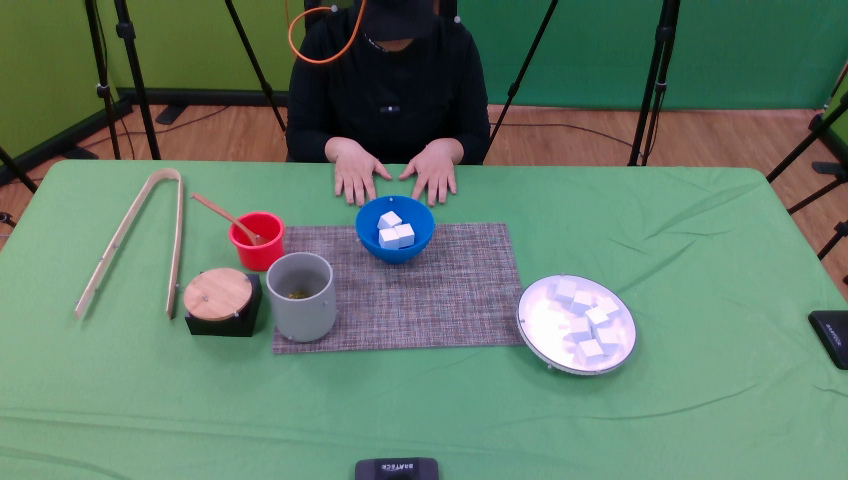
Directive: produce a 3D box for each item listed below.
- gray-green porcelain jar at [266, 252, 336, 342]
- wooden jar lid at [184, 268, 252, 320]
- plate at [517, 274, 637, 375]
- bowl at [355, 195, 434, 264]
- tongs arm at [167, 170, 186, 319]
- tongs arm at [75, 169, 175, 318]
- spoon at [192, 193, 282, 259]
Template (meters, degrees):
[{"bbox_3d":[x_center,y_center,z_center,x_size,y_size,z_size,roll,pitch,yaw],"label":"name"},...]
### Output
[{"bbox_3d":[-0.202,0.100,1.009,0.106,0.127,0.105,2,46,-2],"label":"gray-green porcelain jar"},{"bbox_3d":[-0.343,0.092,1.015,0.108,0.021,0.107,3,46,-3],"label":"wooden jar lid"},{"bbox_3d":[0.264,0.149,1.060,0.209,0.038,0.208,3,46,-3],"label":"plate"},{"bbox_3d":[-0.056,-0.008,1.158,0.151,0.077,0.150,2,46,-2],"label":"bowl"},{"bbox_3d":[-0.479,-0.006,1.166,0.028,0.028,0.385,-9,47,-9],"label":"tongs arm"},{"bbox_3d":[-0.559,-0.008,1.156,0.051,0.026,0.382,3,45,-2],"label":"tongs arm"},{"bbox_3d":[-0.342,-0.027,1.115,0.194,0.021,0.041,43,40,-24],"label":"spoon"}]
